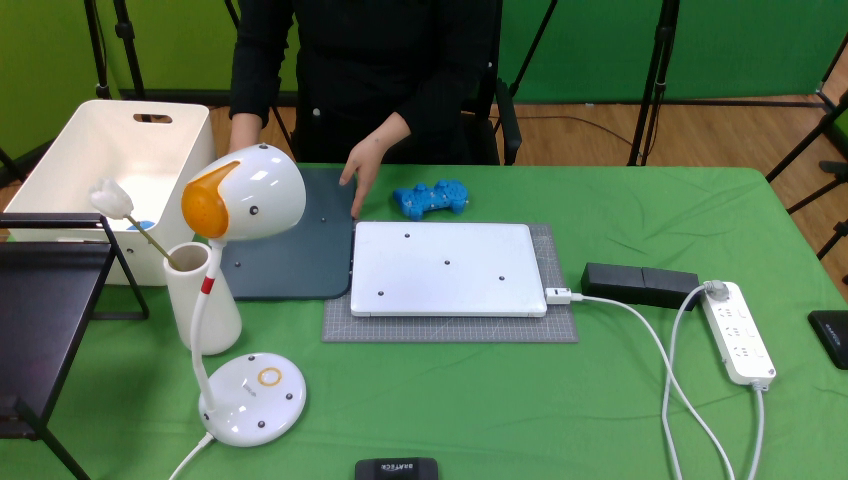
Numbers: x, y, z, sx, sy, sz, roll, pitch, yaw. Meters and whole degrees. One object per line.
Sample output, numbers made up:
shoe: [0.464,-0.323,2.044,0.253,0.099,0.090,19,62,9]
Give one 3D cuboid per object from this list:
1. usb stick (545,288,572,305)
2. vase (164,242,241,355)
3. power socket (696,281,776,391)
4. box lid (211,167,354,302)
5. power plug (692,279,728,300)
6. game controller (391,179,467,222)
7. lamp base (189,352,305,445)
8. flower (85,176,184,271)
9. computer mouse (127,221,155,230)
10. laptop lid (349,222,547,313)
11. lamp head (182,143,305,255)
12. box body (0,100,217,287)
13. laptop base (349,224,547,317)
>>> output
usb stick: [0.236,0.102,1.101,0.059,0.027,0.021,-2,47,1]
vase: [-0.349,0.096,0.954,0.098,0.201,0.097,3,47,-3]
power socket: [0.550,0.160,1.078,0.072,0.033,0.225,2,46,-1]
box lid: [-0.277,-0.024,1.206,0.263,0.015,0.369,0,46,-4]
power plug: [0.522,0.091,1.116,0.072,0.053,0.035,10,47,8]
game controller: [0.016,-0.093,1.273,0.155,0.052,0.096,-11,53,-14]
lamp base: [-0.268,0.196,0.876,0.160,0.181,0.179,26,52,20]
flower: [-0.365,0.038,0.894,0.038,0.364,0.044,-5,53,14]
computer mouse: [-0.537,0.009,1.127,0.062,0.041,0.117,31,55,21]
laptop lid: [0.041,0.046,1.143,0.357,0.013,0.240,2,44,-3]
lamp head: [-0.216,-0.044,0.697,0.112,0.113,0.123,23,31,17]
box body: [-0.559,-0.092,1.145,0.254,0.161,0.361,3,46,-2]
laptop base: [0.041,0.055,1.149,0.355,0.023,0.234,1,42,-4]
